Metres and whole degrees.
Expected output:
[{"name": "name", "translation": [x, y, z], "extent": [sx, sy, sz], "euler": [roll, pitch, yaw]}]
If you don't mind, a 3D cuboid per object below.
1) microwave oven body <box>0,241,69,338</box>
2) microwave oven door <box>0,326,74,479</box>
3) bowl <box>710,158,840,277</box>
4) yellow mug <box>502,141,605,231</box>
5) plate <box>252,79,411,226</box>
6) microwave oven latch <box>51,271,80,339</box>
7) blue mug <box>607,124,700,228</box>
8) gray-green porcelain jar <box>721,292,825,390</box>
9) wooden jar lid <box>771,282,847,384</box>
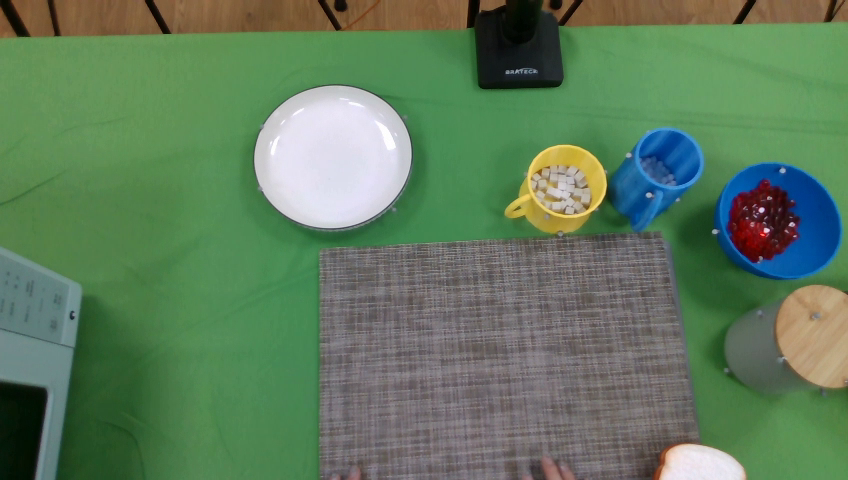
[{"name": "microwave oven body", "translation": [-0.573, 0.219, 0.571], "extent": [0.326, 0.261, 0.439], "euler": [-1, 74, -2]}, {"name": "microwave oven door", "translation": [-0.427, 0.256, 0.559], "extent": [0.039, 0.245, 0.353], "euler": [-1, 73, -1]}, {"name": "bowl", "translation": [0.427, -0.019, 0.766], "extent": [0.151, 0.077, 0.150], "euler": [0, 73, -1]}, {"name": "yellow mug", "translation": [0.161, -0.062, 0.779], "extent": [0.131, 0.064, 0.099], "euler": [-23, 74, -7]}, {"name": "plate", "translation": [-0.120, -0.114, 0.803], "extent": [0.208, 0.039, 0.206], "euler": [0, 73, -1]}, {"name": "microwave oven latch", "translation": [-0.431, 0.077, 0.718], "extent": [0.030, 0.029, 0.078], "euler": [3, 74, -1]}, {"name": "blue mug", "translation": [0.282, -0.070, 0.764], "extent": [0.082, 0.106, 0.116], "euler": [17, 74, 5]}, {"name": "gray-green porcelain jar", "translation": [0.417, 0.118, 0.700], "extent": [0.106, 0.127, 0.105], "euler": [0, 73, -1]}, {"name": "wooden jar lid", "translation": [0.417, 0.098, 0.640], "extent": [0.108, 0.021, 0.108], "euler": [1, 76, -3]}]
